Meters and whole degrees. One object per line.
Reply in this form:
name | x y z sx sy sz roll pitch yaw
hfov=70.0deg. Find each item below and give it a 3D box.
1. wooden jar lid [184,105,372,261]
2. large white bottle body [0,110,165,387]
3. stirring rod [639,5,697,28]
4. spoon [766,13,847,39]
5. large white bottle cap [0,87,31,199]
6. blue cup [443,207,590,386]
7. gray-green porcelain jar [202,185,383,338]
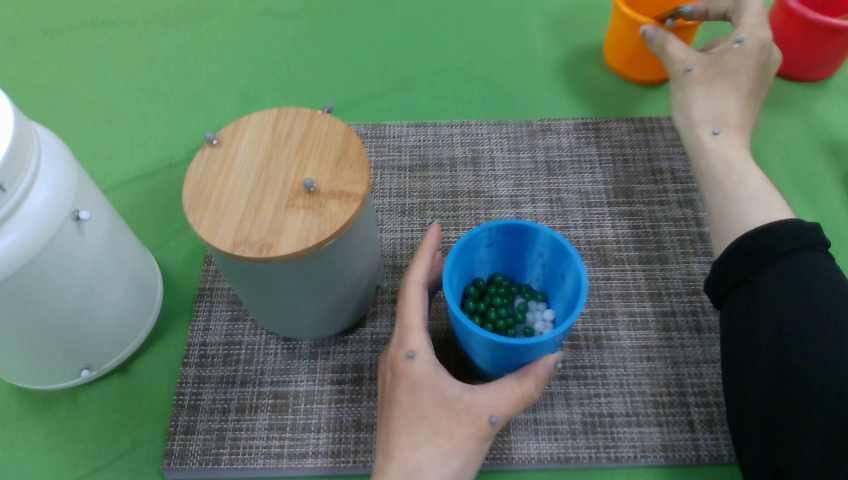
wooden jar lid | -0.084 -0.033 0.356 0.108 0.021 0.107 -2 59 3
large white bottle body | -0.261 0.003 0.381 0.130 0.186 0.129 0 58 1
stirring rod | 0.206 -0.191 0.521 0.014 0.006 0.175 6 16 8
spoon | 0.381 -0.192 0.513 0.041 0.192 0.022 -24 106 -17
large white bottle cap | -0.264 -0.042 0.308 0.115 0.018 0.114 0 59 1
blue cup | 0.055 0.049 0.392 0.092 0.101 0.092 -1 56 2
gray-green porcelain jar | -0.083 0.001 0.410 0.106 0.127 0.105 -1 59 1
